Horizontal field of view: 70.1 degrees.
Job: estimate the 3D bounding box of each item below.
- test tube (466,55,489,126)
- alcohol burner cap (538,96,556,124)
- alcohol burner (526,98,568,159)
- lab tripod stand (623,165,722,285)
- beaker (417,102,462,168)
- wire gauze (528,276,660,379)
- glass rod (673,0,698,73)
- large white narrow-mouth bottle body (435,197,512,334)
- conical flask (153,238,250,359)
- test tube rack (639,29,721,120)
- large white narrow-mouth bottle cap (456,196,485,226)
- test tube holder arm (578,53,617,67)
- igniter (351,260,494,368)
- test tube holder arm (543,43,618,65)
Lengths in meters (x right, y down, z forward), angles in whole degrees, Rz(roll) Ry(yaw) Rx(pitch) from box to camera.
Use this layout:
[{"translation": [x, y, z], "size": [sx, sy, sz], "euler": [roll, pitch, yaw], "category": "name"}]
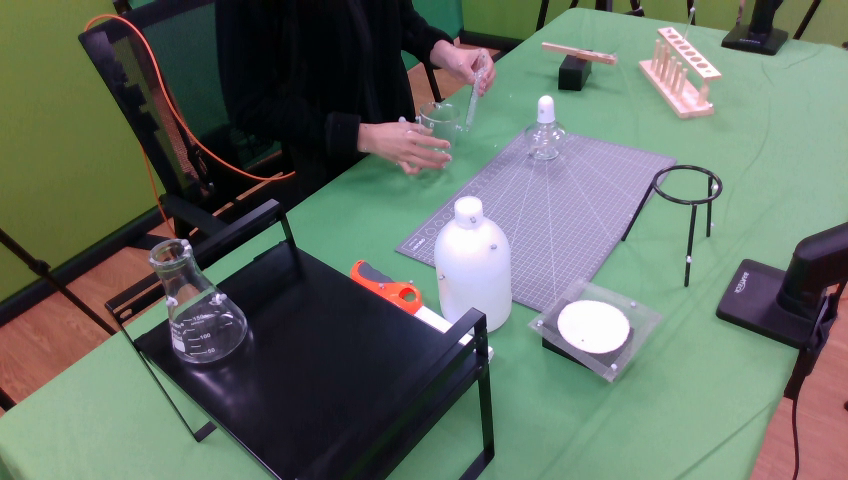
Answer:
[{"translation": [0.100, -0.280, 1.146], "size": [0.017, 0.150, 0.017], "euler": [6, 44, -5], "category": "test tube"}, {"translation": [0.222, -0.237, 1.095], "size": [0.034, 0.048, 0.033], "euler": [-7, 35, 5], "category": "alcohol burner cap"}, {"translation": [0.228, -0.210, 1.118], "size": [0.078, 0.119, 0.077], "euler": [-5, 43, 5], "category": "alcohol burner"}, {"translation": [0.365, -0.030, 0.875], "size": [0.148, 0.132, 0.147], "euler": [-6, 41, 6], "category": "lab tripod stand"}, {"translation": [0.026, -0.191, 1.104], "size": [0.074, 0.100, 0.083], "euler": [3, 39, -6], "category": "beaker"}, {"translation": [0.213, 0.103, 0.763], "size": [0.124, 0.011, 0.122], "euler": [30, 52, 35], "category": "wire gauze"}, {"translation": [0.538, -0.425, 1.245], "size": [0.008, 0.200, 0.008], "euler": [0, 47, 0], "category": "glass rod"}, {"translation": [0.066, 0.028, 0.805], "size": [0.102, 0.195, 0.101], "euler": [-4, 40, 4], "category": "large white narrow-mouth bottle body"}, {"translation": [-0.225, 0.055, 0.597], "size": [0.075, 0.122, 0.075], "euler": [-5, 41, 4], "category": "conical flask"}, {"translation": [0.527, -0.351, 1.262], "size": [0.067, 0.085, 0.241], "euler": [-8, 40, 1], "category": "test tube rack"}, {"translation": [0.057, -0.036, 0.749], "size": [0.038, 0.024, 0.037], "euler": [-4, 40, 4], "category": "large white narrow-mouth bottle cap"}, {"translation": [0.376, -0.393, 1.314], "size": [0.087, 0.015, 0.010], "euler": [26, 51, 32], "category": "test tube holder arm"}, {"translation": [-0.013, 0.098, 0.864], "size": [0.274, 0.025, 0.057], "euler": [30, 66, 36], "category": "igniter"}, {"translation": [0.344, -0.413, 1.340], "size": [0.177, 0.015, 0.013], "euler": [25, 51, 31], "category": "test tube holder arm"}]
